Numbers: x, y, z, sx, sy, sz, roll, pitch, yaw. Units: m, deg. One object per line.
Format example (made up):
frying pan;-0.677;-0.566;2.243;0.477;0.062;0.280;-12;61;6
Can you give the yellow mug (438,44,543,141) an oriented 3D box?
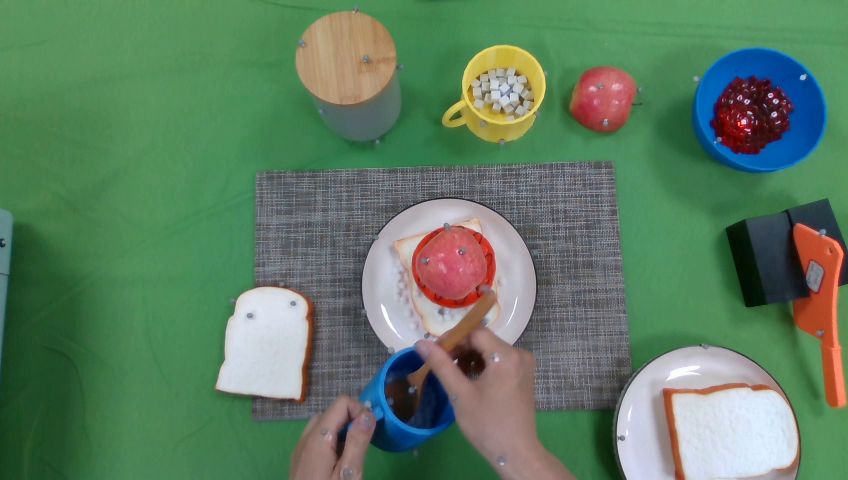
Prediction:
yellow mug;0.077;-0.173;0.745;0.131;0.064;0.099;-25;81;-3

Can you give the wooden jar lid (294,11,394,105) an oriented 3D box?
wooden jar lid;-0.086;-0.195;0.657;0.108;0.021;0.108;0;78;1

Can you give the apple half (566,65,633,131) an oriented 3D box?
apple half;0.220;-0.182;0.752;0.074;0.053;0.080;20;82;7

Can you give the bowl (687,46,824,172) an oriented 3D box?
bowl;0.383;-0.146;0.730;0.151;0.077;0.151;0;81;1

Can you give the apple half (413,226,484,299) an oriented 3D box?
apple half;0.027;0.024;0.658;0.081;0.033;0.081;-1;81;8

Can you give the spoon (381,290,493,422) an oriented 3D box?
spoon;0.006;0.109;0.545;0.022;0.194;0.041;-12;57;-44

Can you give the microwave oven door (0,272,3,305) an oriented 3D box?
microwave oven door;-0.518;0.192;0.583;0.039;0.244;0.354;-2;80;1

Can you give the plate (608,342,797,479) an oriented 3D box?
plate;0.311;0.221;0.690;0.209;0.038;0.208;0;80;1

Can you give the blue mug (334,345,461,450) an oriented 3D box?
blue mug;-0.033;0.163;0.591;0.117;0.106;0.082;-20;72;-27

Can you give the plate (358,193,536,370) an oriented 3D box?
plate;0.026;0.049;0.719;0.208;0.039;0.207;0;80;1

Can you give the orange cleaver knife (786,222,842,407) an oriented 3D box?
orange cleaver knife;0.443;0.084;0.689;0.012;0.077;0.212;-13;102;-8

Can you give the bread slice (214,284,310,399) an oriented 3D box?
bread slice;-0.190;0.118;0.720;0.105;0.019;0.131;6;82;1

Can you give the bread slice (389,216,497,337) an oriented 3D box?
bread slice;0.031;0.047;0.719;0.107;0.018;0.134;-19;81;-2

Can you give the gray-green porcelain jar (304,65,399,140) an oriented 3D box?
gray-green porcelain jar;-0.084;-0.183;0.719;0.106;0.127;0.105;0;80;1

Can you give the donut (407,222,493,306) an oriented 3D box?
donut;0.030;0.028;0.694;0.099;0.048;0.098;0;80;1

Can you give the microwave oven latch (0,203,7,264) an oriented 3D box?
microwave oven latch;-0.518;-0.007;0.719;0.030;0.029;0.079;2;81;1
